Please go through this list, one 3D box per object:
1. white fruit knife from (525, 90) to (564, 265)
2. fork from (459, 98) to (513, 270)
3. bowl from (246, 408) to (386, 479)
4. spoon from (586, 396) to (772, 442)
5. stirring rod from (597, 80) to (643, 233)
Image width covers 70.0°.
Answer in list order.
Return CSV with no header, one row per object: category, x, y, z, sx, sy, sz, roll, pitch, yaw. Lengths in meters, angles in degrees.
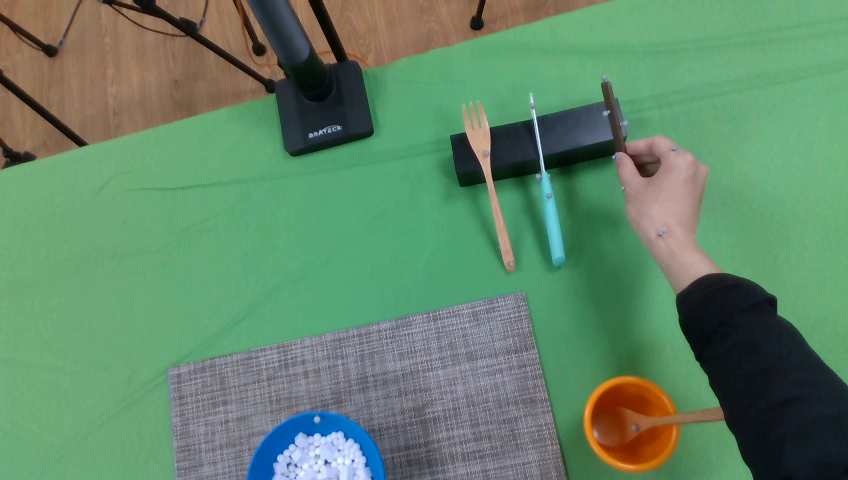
white fruit knife,0.138,-0.073,0.705,0.016,0.027,0.207,-11,91,3
fork,0.076,-0.063,0.713,0.028,0.018,0.207,-14,94,2
bowl,-0.107,0.260,0.659,0.151,0.077,0.150,-2,75,9
spoon,0.241,0.173,0.595,0.022,0.193,0.041,3,70,-36
stirring rod,0.213,-0.087,0.655,0.006,0.014,0.177,-26,110,-14
